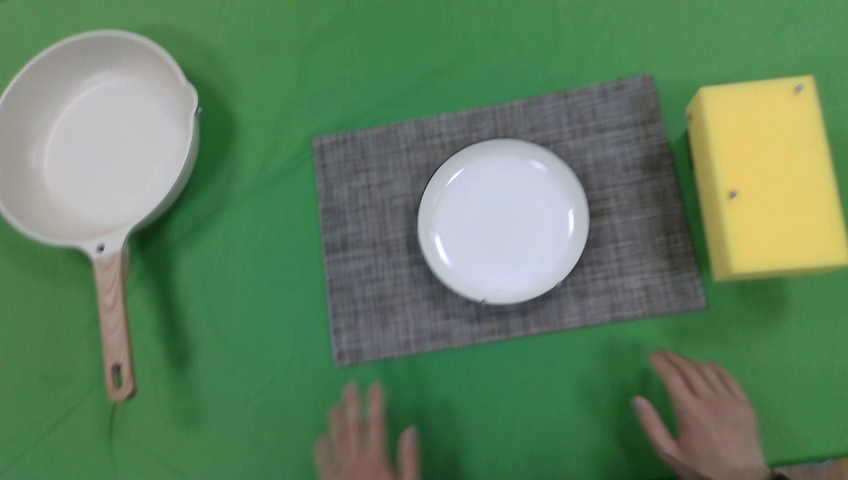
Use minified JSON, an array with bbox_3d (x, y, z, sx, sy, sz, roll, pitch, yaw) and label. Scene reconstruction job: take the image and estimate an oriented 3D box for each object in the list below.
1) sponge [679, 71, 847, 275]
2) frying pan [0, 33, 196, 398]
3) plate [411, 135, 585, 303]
[{"bbox_3d":[0.362,-0.071,0.659,0.118,0.061,0.206,-7,78,5],"label":"sponge"},{"bbox_3d":[-0.410,-0.036,0.775,0.307,0.103,0.484,-18,69,4],"label":"frying pan"},{"bbox_3d":[0.089,-0.024,0.743,0.207,0.039,0.206,-1,79,7],"label":"plate"}]
